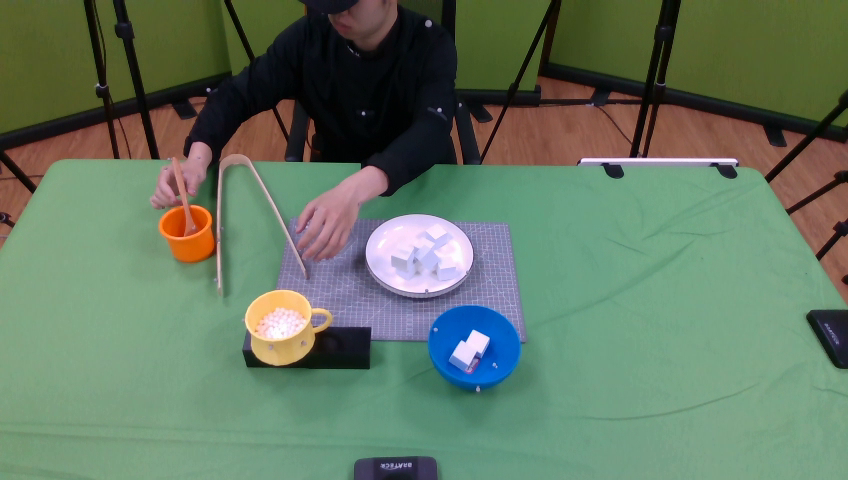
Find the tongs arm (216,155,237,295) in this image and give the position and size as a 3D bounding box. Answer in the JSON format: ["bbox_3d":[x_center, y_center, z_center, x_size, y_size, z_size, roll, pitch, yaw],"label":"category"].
[{"bbox_3d":[-0.388,-0.043,1.201,0.051,0.026,0.382,-10,46,-12],"label":"tongs arm"}]

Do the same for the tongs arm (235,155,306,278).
[{"bbox_3d":[-0.312,-0.059,1.224,0.028,0.028,0.385,-22,50,-18],"label":"tongs arm"}]

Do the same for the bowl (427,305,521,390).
[{"bbox_3d":[0.076,0.188,0.985,0.151,0.077,0.150,3,46,-3],"label":"bowl"}]

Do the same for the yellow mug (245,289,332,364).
[{"bbox_3d":[-0.210,0.133,0.954,0.131,0.064,0.099,-9,48,-14],"label":"yellow mug"}]

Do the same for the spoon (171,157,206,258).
[{"bbox_3d":[-0.444,-0.061,1.133,0.042,0.194,0.021,-12,4,-18],"label":"spoon"}]

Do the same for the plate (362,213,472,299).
[{"bbox_3d":[-0.013,0.034,1.150,0.208,0.039,0.206,2,46,-2],"label":"plate"}]
